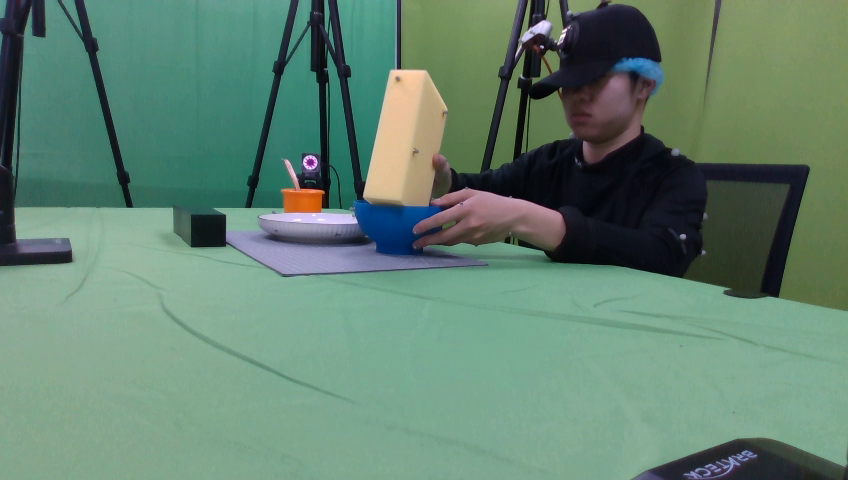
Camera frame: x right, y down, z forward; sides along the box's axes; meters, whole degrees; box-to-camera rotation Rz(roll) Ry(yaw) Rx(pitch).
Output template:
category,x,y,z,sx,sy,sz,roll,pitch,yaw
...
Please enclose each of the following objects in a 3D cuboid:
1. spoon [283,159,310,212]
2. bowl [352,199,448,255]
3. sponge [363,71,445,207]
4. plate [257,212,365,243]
category,x,y,z,sx,sy,sz,roll,pitch,yaw
spoon,-0.279,-0.111,1.324,0.042,0.193,0.021,3,-39,-35
bowl,-0.039,-0.020,0.947,0.151,0.077,0.151,3,7,0
sponge,-0.026,-0.139,0.934,0.061,0.206,0.118,6,-13,18
plate,-0.189,-0.023,1.072,0.209,0.038,0.209,3,7,0
